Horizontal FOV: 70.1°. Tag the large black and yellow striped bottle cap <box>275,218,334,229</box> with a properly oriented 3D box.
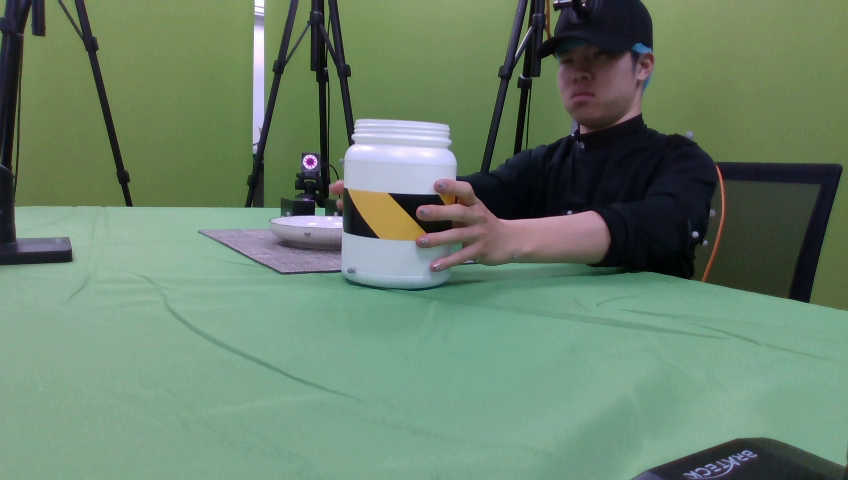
[{"bbox_3d":[-0.236,-0.033,1.197,0.115,0.019,0.115,2,3,0],"label":"large black and yellow striped bottle cap"}]

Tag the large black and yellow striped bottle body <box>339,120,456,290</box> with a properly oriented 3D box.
[{"bbox_3d":[-0.030,-0.044,0.703,0.131,0.184,0.130,3,8,0],"label":"large black and yellow striped bottle body"}]

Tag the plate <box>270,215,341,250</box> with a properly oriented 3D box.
[{"bbox_3d":[-0.145,-0.013,0.991,0.208,0.039,0.207,2,7,0],"label":"plate"}]
